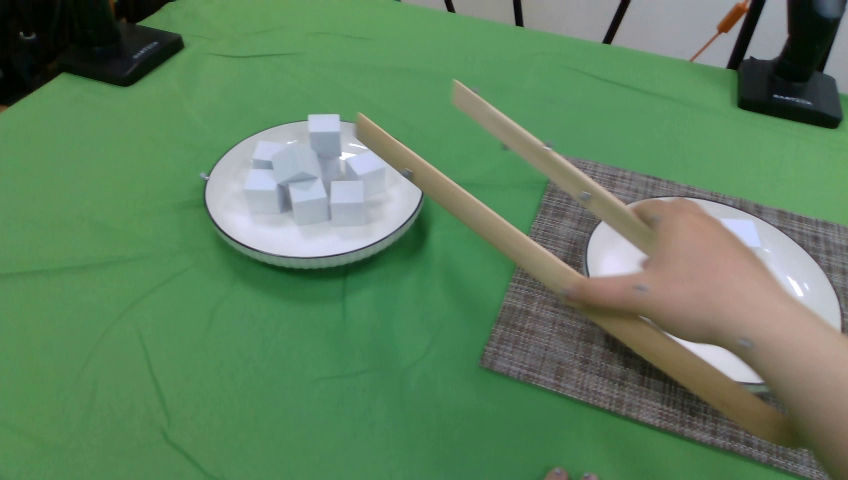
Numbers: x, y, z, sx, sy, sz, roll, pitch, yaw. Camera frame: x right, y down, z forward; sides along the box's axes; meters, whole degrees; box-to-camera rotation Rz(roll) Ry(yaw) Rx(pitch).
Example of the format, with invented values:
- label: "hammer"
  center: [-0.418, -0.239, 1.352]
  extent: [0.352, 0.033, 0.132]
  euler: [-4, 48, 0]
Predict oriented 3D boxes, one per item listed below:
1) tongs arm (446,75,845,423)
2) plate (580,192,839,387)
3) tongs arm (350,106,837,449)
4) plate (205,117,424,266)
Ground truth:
- label: "tongs arm"
  center: [0.126, -0.015, 0.447]
  extent: [0.051, 0.027, 0.381]
  euler: [-26, 56, -34]
- label: "plate"
  center: [0.237, 0.039, 0.523]
  extent: [0.208, 0.039, 0.205]
  euler: [2, 46, -1]
- label: "tongs arm"
  center: [0.081, 0.008, 0.415]
  extent: [0.384, 0.028, 0.028]
  euler: [38, 45, 24]
- label: "plate"
  center: [-0.103, -0.047, 0.594]
  extent: [0.209, 0.038, 0.207]
  euler: [2, 45, -2]
